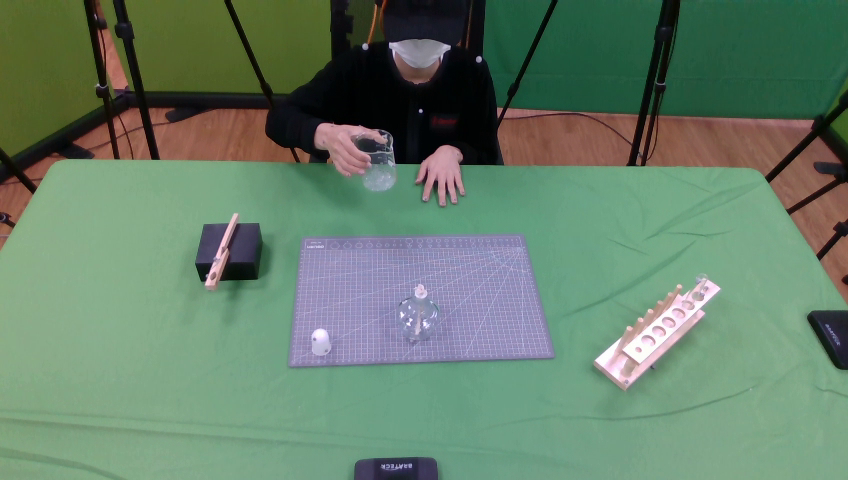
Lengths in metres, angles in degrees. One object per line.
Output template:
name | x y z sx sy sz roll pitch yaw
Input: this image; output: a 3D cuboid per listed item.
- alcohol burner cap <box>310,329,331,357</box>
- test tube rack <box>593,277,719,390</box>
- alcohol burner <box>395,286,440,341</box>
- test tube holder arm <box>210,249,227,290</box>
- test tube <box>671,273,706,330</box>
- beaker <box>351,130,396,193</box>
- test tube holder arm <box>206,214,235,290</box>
alcohol burner cap | -0.173 0.168 1.005 0.034 0.048 0.033 2 46 -2
test tube rack | 0.401 0.148 1.043 0.242 0.085 0.066 -30 55 -29
alcohol burner | -0.010 0.116 1.018 0.078 0.119 0.077 3 47 -3
test tube holder arm | -0.359 0.050 1.059 0.010 0.015 0.087 8 45 -8
test tube | 0.443 0.106 1.018 0.017 0.151 0.017 -1 49 1
beaker | -0.090 -0.146 1.149 0.083 0.101 0.074 28 54 28
test tube holder arm | -0.364 0.017 1.090 0.013 0.015 0.177 7 45 -8
